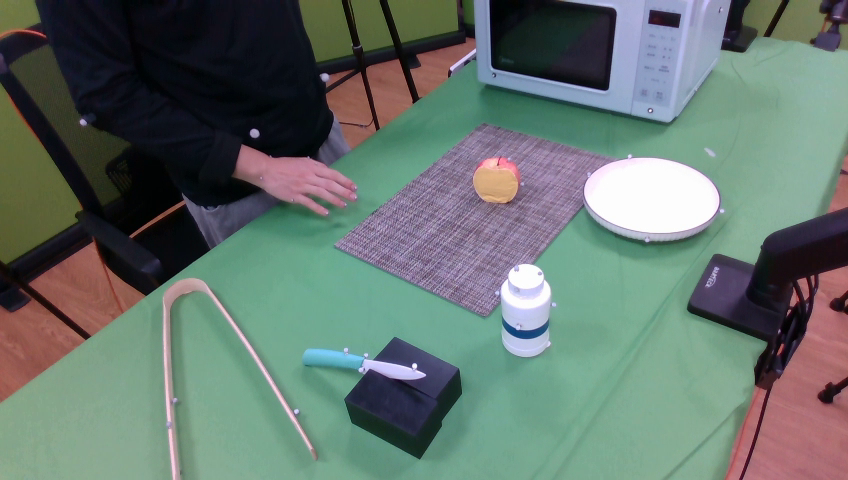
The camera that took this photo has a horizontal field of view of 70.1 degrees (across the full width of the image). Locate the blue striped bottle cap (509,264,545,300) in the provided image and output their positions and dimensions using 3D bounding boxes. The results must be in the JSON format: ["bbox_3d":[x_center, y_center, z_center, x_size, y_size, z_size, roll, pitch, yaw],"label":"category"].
[{"bbox_3d":[0.125,0.051,0.735,0.044,0.021,0.044,-6,39,5],"label":"blue striped bottle cap"}]

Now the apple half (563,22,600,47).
[{"bbox_3d":[0.334,-0.446,1.299,0.081,0.033,0.081,-15,37,13],"label":"apple half"}]

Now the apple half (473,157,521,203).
[{"bbox_3d":[0.128,-0.107,1.030,0.080,0.075,0.053,4,38,19],"label":"apple half"}]

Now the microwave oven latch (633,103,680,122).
[{"bbox_3d":[0.444,-0.249,1.157,0.078,0.029,0.030,21,48,30],"label":"microwave oven latch"}]

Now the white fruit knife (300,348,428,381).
[{"bbox_3d":[-0.079,0.154,0.748,0.206,0.027,0.016,1,20,34],"label":"white fruit knife"}]

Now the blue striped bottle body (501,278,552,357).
[{"bbox_3d":[0.130,0.088,0.769,0.063,0.121,0.063,-4,41,4],"label":"blue striped bottle body"}]

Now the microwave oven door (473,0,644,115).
[{"bbox_3d":[0.257,-0.396,1.199,0.353,0.245,0.039,21,48,29],"label":"microwave oven door"}]

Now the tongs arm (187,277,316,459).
[{"bbox_3d":[-0.240,0.154,0.815,0.028,0.028,0.384,-31,46,-21],"label":"tongs arm"}]

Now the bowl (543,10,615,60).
[{"bbox_3d":[0.335,-0.439,1.306,0.151,0.077,0.151,-8,30,5],"label":"bowl"}]

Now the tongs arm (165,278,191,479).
[{"bbox_3d":[-0.313,0.182,0.789,0.051,0.026,0.381,-19,41,-14],"label":"tongs arm"}]

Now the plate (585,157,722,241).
[{"bbox_3d":[0.367,-0.063,0.979,0.207,0.039,0.206,-4,41,4],"label":"plate"}]

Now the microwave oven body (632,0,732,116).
[{"bbox_3d":[0.377,-0.462,1.267,0.438,0.261,0.327,21,48,30],"label":"microwave oven body"}]
